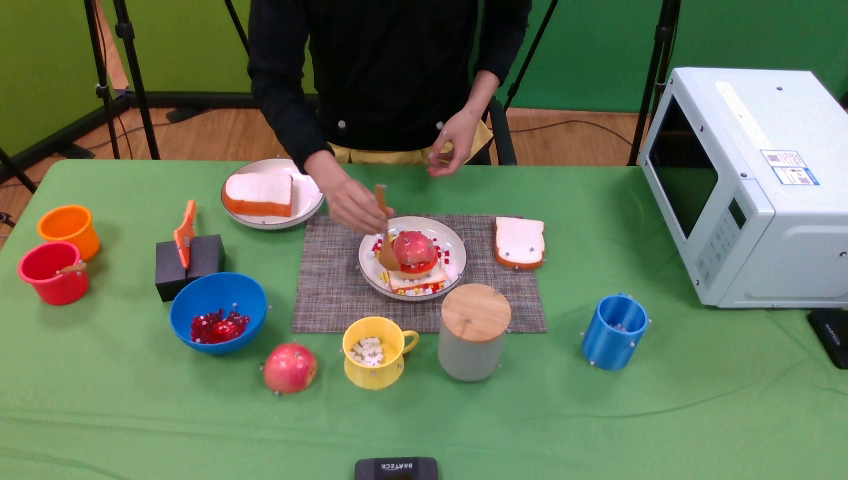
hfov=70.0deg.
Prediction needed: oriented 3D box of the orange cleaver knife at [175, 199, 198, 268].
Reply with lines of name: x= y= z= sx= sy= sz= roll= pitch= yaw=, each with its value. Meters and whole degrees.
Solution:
orange cleaver knife: x=-0.438 y=-0.017 z=1.138 sx=0.012 sy=0.077 sz=0.210 roll=-14 pitch=27 yaw=-7

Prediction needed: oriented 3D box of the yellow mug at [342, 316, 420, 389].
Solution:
yellow mug: x=-0.067 y=0.178 z=0.990 sx=0.131 sy=0.064 sz=0.099 roll=-16 pitch=50 yaw=-19

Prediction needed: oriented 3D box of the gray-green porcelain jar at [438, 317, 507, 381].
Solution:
gray-green porcelain jar: x=0.076 y=0.158 z=0.977 sx=0.106 sy=0.127 sz=0.105 roll=2 pitch=47 yaw=-2

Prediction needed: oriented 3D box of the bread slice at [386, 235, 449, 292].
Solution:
bread slice: x=-0.027 y=0.039 z=1.139 sx=0.107 sy=0.018 sz=0.133 roll=-12 pitch=47 yaw=-16

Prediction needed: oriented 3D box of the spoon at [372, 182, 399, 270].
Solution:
spoon: x=-0.067 y=-0.019 z=0.983 sx=0.041 sy=0.195 sz=0.021 roll=16 pitch=45 yaw=22

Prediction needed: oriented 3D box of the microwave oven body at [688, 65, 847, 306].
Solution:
microwave oven body: x=0.669 y=-0.111 z=1.176 sx=0.326 sy=0.261 sz=0.439 roll=0 pitch=46 yaw=-3

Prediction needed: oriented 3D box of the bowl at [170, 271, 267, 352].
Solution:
bowl: x=-0.333 y=0.132 z=1.006 sx=0.151 sy=0.077 sz=0.150 roll=2 pitch=46 yaw=-2

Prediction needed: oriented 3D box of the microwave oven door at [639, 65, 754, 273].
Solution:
microwave oven door: x=0.522 y=-0.147 z=1.192 sx=0.039 sy=0.245 sz=0.353 roll=0 pitch=47 yaw=-3

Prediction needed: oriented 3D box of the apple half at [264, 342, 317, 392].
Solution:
apple half: x=-0.214 y=0.198 z=0.970 sx=0.074 sy=0.053 sz=0.080 roll=19 pitch=48 yaw=11

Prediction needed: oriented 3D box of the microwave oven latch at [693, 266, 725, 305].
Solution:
microwave oven latch: x=0.523 y=0.082 z=1.115 sx=0.030 sy=0.029 sz=0.078 roll=3 pitch=46 yaw=0

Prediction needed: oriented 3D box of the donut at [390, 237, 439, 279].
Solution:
donut: x=-0.021 y=0.028 z=1.111 sx=0.099 sy=0.048 sz=0.098 roll=3 pitch=46 yaw=-3

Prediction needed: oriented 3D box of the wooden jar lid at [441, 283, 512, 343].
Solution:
wooden jar lid: x=0.080 y=0.114 z=0.931 sx=0.108 sy=0.021 sz=0.107 roll=1 pitch=49 yaw=-1

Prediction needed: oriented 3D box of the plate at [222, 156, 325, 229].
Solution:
plate: x=-0.308 y=-0.095 z=1.251 sx=0.209 sy=0.038 sz=0.208 roll=2 pitch=47 yaw=-2

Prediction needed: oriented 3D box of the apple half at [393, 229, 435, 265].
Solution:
apple half: x=-0.018 y=0.005 z=1.084 sx=0.081 sy=0.033 sz=0.081 roll=6 pitch=49 yaw=-6

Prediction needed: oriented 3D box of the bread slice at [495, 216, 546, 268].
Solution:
bread slice: x=0.194 y=0.002 z=1.205 sx=0.105 sy=0.019 sz=0.131 roll=5 pitch=45 yaw=2

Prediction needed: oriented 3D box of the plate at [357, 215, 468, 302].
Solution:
plate: x=-0.022 y=0.037 z=1.141 sx=0.208 sy=0.039 sz=0.206 roll=2 pitch=46 yaw=-2

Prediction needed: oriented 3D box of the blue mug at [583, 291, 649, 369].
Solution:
blue mug: x=0.324 y=0.142 z=1.023 sx=0.082 sy=0.106 sz=0.116 roll=15 pitch=47 yaw=11

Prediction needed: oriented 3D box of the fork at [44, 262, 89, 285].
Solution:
fork: x=-0.598 y=0.054 z=1.014 sx=0.207 sy=0.019 sz=0.028 roll=-15 pitch=28 yaw=45
